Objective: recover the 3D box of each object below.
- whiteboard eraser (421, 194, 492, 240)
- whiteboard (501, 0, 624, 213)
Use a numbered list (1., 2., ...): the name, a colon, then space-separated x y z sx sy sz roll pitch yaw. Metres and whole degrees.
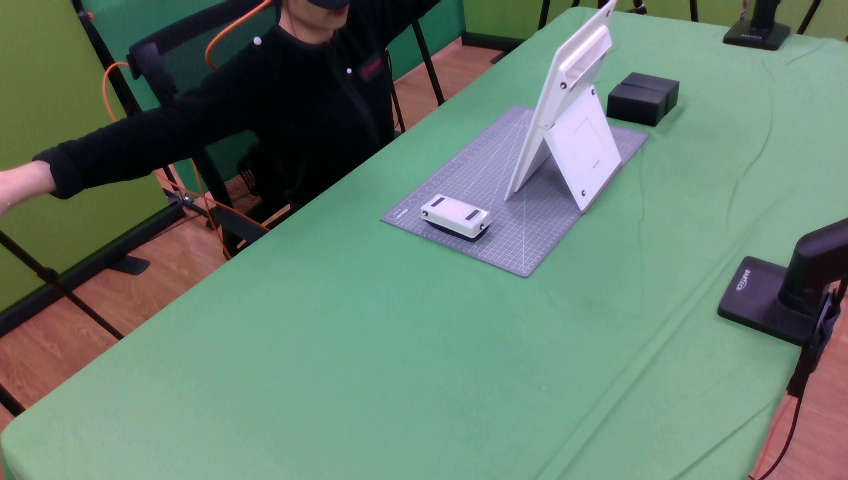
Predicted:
1. whiteboard eraser: 0.052 -0.037 0.996 0.112 0.042 0.056 23 50 32
2. whiteboard: 0.271 -0.189 0.977 0.143 0.306 0.218 34 53 16
